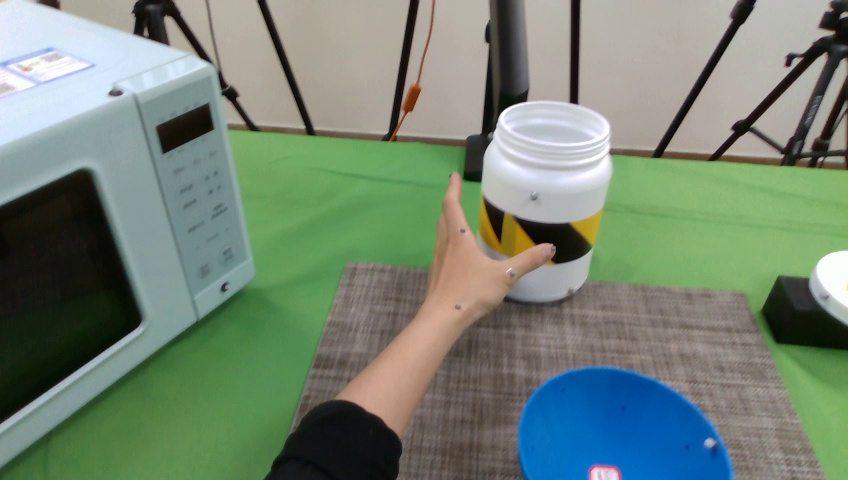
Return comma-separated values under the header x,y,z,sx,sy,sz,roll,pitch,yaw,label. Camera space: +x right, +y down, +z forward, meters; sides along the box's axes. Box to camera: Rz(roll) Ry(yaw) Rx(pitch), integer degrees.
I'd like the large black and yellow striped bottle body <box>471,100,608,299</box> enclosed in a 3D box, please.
x,y,z,sx,sy,sz,roll,pitch,yaw,label
0.121,-0.044,0.648,0.131,0.185,0.129,2,35,-1,large black and yellow striped bottle body

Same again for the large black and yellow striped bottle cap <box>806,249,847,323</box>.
x,y,z,sx,sy,sz,roll,pitch,yaw,label
0.446,0.049,0.601,0.115,0.019,0.114,0,37,0,large black and yellow striped bottle cap

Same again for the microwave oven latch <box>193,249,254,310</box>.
x,y,z,sx,sy,sz,roll,pitch,yaw,label
-0.212,0.037,0.625,0.030,0.030,0.079,25,44,25,microwave oven latch

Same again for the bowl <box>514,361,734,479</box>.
x,y,z,sx,sy,sz,roll,pitch,yaw,label
0.139,0.173,0.455,0.151,0.077,0.150,1,38,0,bowl

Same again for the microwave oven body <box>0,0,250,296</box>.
x,y,z,sx,sy,sz,roll,pitch,yaw,label
-0.431,-0.001,0.506,0.324,0.262,0.441,23,43,24,microwave oven body

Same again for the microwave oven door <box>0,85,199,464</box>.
x,y,z,sx,sy,sz,roll,pitch,yaw,label
-0.331,0.066,0.416,0.039,0.246,0.355,22,42,25,microwave oven door
